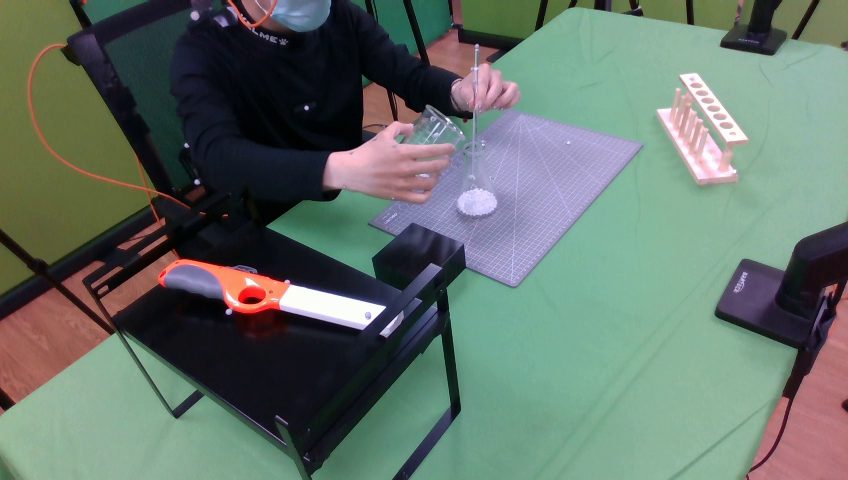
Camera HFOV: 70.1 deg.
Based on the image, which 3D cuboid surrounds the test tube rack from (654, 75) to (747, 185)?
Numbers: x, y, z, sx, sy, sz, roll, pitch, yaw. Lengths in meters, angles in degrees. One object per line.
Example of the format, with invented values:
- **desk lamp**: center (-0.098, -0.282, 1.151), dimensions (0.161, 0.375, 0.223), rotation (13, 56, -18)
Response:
- **test tube rack**: center (0.491, -0.205, 1.092), dimensions (0.067, 0.085, 0.241), rotation (-5, 40, 3)

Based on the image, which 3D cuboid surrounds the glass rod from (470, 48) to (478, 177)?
- **glass rod**: center (0.079, -0.200, 0.959), dimensions (0.008, 0.200, 0.008), rotation (1, 12, 0)

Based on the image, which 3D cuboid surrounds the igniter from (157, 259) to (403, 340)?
- **igniter**: center (-0.157, 0.059, 0.637), dimensions (0.275, 0.025, 0.057), rotation (11, 43, 14)

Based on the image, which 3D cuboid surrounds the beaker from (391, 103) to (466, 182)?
- **beaker**: center (0.005, -0.145, 0.924), dimensions (0.100, 0.084, 0.073), rotation (-50, 29, 16)

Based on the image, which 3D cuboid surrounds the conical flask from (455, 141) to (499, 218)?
- **conical flask**: center (0.085, -0.103, 0.999), dimensions (0.075, 0.122, 0.075), rotation (-4, 40, 4)
